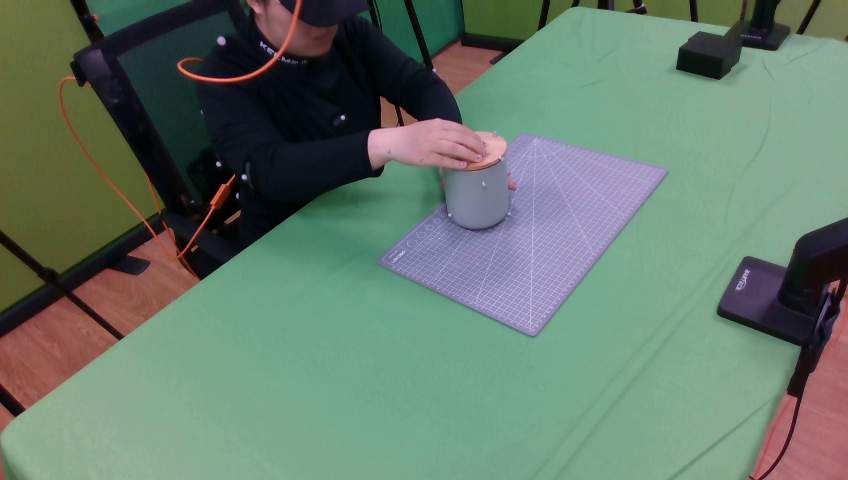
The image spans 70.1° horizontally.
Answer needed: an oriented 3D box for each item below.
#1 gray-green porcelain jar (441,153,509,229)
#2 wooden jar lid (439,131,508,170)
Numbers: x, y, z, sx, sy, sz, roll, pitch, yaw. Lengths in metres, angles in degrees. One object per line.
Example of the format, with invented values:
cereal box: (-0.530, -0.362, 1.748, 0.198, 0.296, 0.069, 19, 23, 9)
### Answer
gray-green porcelain jar: (0.086, -0.089, 0.988, 0.106, 0.127, 0.105, -5, 40, 5)
wooden jar lid: (0.077, -0.136, 0.949, 0.108, 0.021, 0.108, -5, 38, 5)
